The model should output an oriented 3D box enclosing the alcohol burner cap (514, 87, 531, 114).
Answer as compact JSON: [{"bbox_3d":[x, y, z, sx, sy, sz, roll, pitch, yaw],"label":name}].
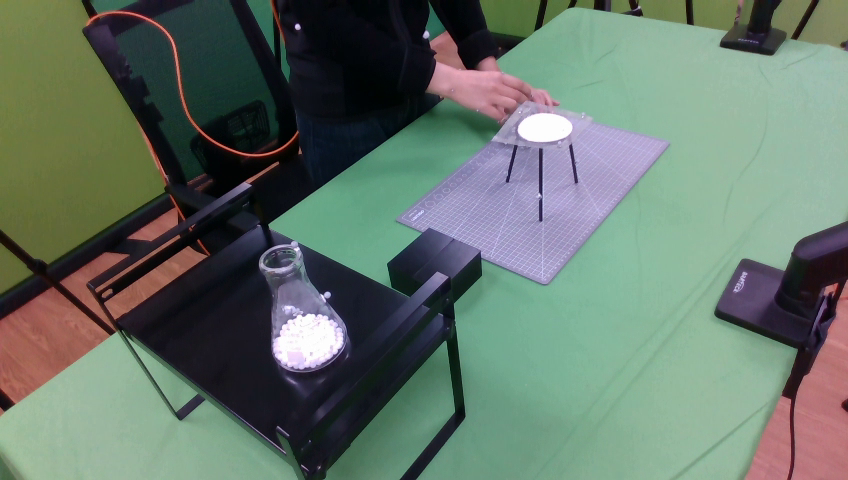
[{"bbox_3d":[0.183,-0.262,1.124,0.034,0.048,0.033,-5,48,7],"label":"alcohol burner cap"}]

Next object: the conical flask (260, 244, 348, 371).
[{"bbox_3d":[-0.118,0.060,0.565,0.075,0.122,0.075,-5,41,4],"label":"conical flask"}]

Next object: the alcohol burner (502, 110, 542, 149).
[{"bbox_3d":[0.186,-0.235,1.150,0.078,0.119,0.077,-4,42,5],"label":"alcohol burner"}]

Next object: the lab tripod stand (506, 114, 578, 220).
[{"bbox_3d":[0.198,-0.128,1.005,0.148,0.132,0.147,-3,42,3],"label":"lab tripod stand"}]

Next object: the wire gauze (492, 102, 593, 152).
[{"bbox_3d":[0.190,-0.180,0.964,0.120,0.011,0.125,19,48,27],"label":"wire gauze"}]
